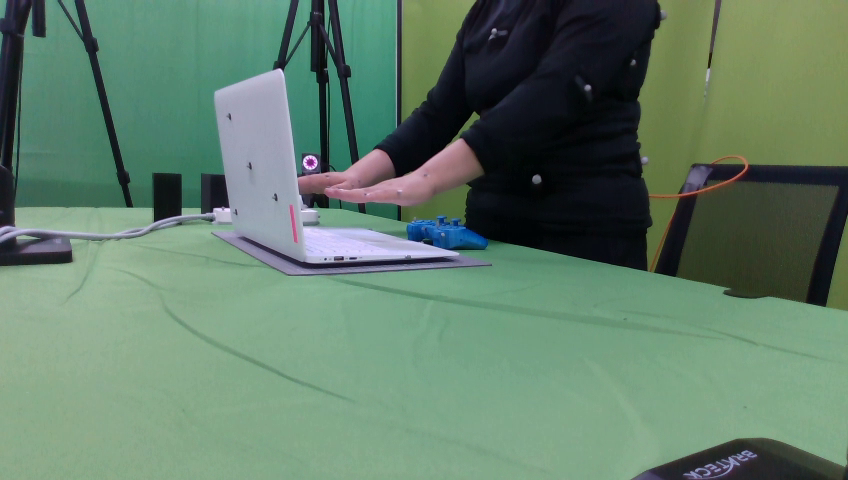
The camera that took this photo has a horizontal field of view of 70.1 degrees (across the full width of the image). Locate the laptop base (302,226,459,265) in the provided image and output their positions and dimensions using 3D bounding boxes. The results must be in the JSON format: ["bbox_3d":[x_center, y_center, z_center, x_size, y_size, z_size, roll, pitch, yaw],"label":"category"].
[{"bbox_3d":[-0.136,0.006,0.951,0.237,0.023,0.352,2,6,-32],"label":"laptop base"}]

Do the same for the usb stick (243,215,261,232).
[{"bbox_3d":[-0.302,-0.028,1.070,0.021,0.027,0.059,-1,12,-30],"label":"usb stick"}]

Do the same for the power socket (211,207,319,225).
[{"bbox_3d":[-0.334,-0.051,1.281,0.228,0.032,0.072,-1,9,-29],"label":"power socket"}]

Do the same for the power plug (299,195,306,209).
[{"bbox_3d":[-0.283,-0.075,1.342,0.035,0.052,0.072,0,4,-18],"label":"power plug"}]

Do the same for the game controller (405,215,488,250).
[{"bbox_3d":[0.034,-0.014,1.067,0.097,0.051,0.154,-9,11,-28],"label":"game controller"}]

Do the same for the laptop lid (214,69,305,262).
[{"bbox_3d":[-0.246,-0.107,0.865,0.013,0.241,0.355,-11,14,-30],"label":"laptop lid"}]
